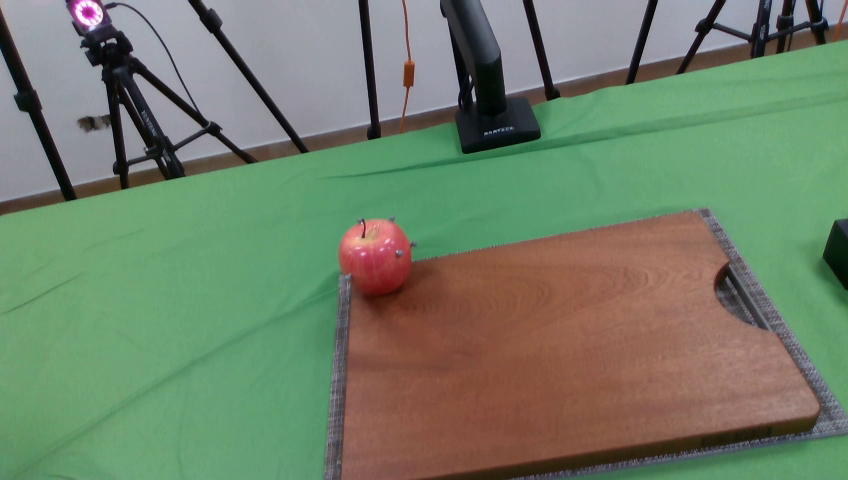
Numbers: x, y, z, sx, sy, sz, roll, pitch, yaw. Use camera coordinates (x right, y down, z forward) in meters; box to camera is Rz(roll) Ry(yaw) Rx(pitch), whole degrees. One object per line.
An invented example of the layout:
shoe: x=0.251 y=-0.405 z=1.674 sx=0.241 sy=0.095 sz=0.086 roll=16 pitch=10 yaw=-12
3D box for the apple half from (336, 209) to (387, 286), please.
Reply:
apple half: x=-0.068 y=0.010 z=0.669 sx=0.053 sy=0.075 sz=0.080 roll=-7 pitch=44 yaw=14

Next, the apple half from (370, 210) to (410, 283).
apple half: x=-0.031 y=0.006 z=0.661 sx=0.033 sy=0.082 sz=0.080 roll=-7 pitch=42 yaw=14
